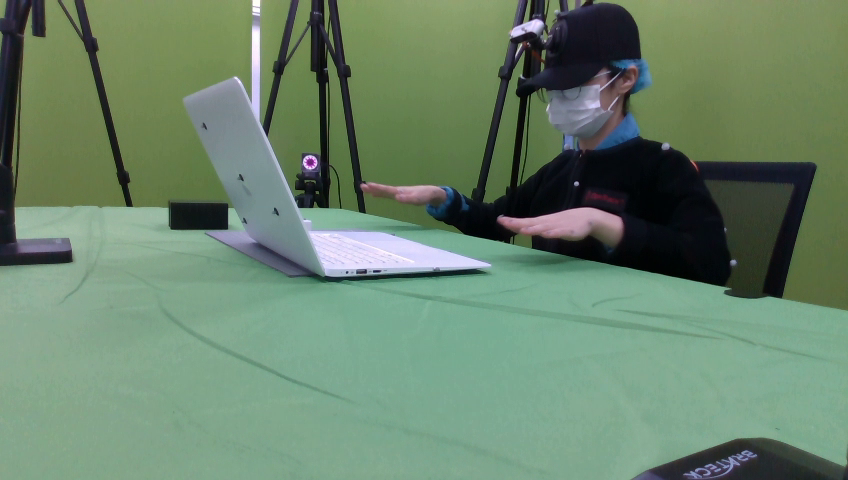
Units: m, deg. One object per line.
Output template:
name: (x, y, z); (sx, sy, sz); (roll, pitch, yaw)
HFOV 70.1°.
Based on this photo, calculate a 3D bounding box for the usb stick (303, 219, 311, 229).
usb stick: (-0.235, -0.025, 1.102); (0.021, 0.027, 0.059); (9, 13, 37)

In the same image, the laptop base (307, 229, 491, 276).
laptop base: (-0.095, 0.015, 0.888); (0.237, 0.023, 0.352); (2, 7, -30)

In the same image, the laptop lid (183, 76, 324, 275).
laptop lid: (-0.237, -0.085, 0.791); (0.013, 0.242, 0.355); (-29, 22, -23)
